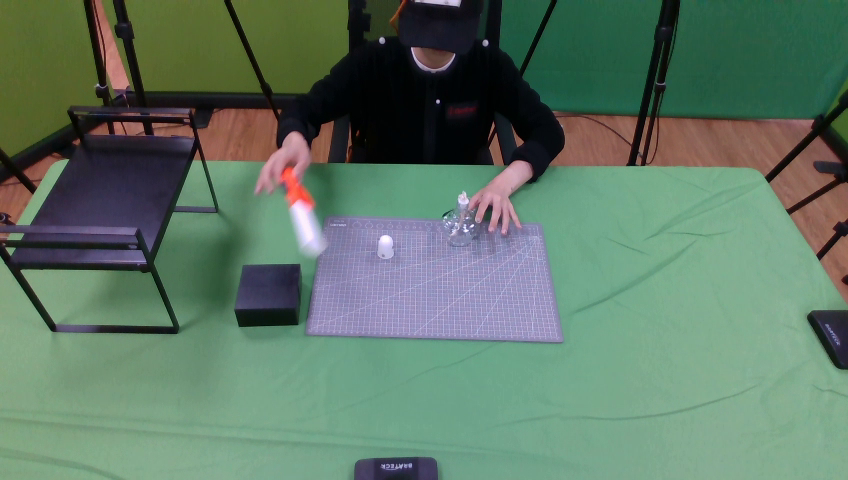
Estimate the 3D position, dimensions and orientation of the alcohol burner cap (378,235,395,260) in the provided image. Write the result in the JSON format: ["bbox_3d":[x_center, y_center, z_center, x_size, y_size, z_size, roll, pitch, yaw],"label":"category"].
[{"bbox_3d":[-0.073,0.012,1.160,0.034,0.048,0.033,1,46,-1],"label":"alcohol burner cap"}]

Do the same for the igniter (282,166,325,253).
[{"bbox_3d":[-0.204,-0.059,1.005,0.025,0.057,0.274,-48,35,12],"label":"igniter"}]

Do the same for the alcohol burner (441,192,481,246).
[{"bbox_3d":[0.073,-0.046,1.176,0.078,0.119,0.077,2,44,-2],"label":"alcohol burner"}]
